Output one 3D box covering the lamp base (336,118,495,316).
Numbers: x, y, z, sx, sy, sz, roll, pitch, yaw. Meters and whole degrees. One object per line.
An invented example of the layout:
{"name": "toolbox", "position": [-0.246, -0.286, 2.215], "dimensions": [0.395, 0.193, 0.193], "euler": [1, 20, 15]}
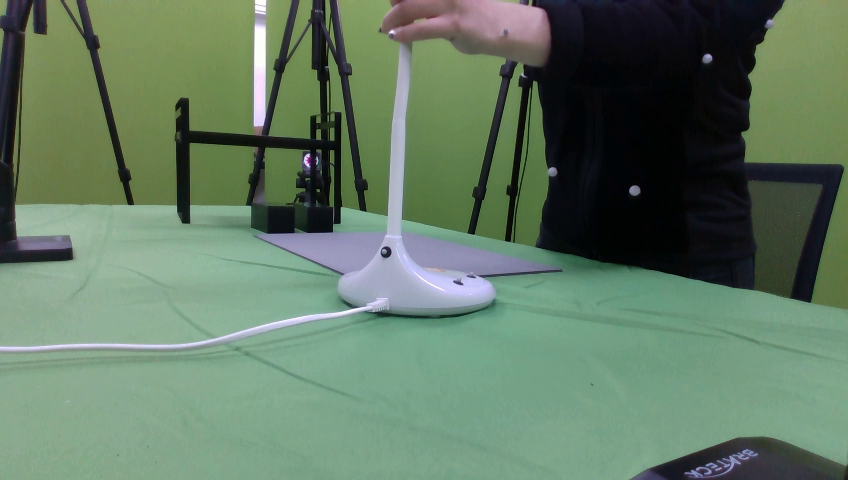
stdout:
{"name": "lamp base", "position": [-0.009, -0.026, 0.589], "dimensions": [0.160, 0.180, 0.179], "euler": [4, 10, 14]}
